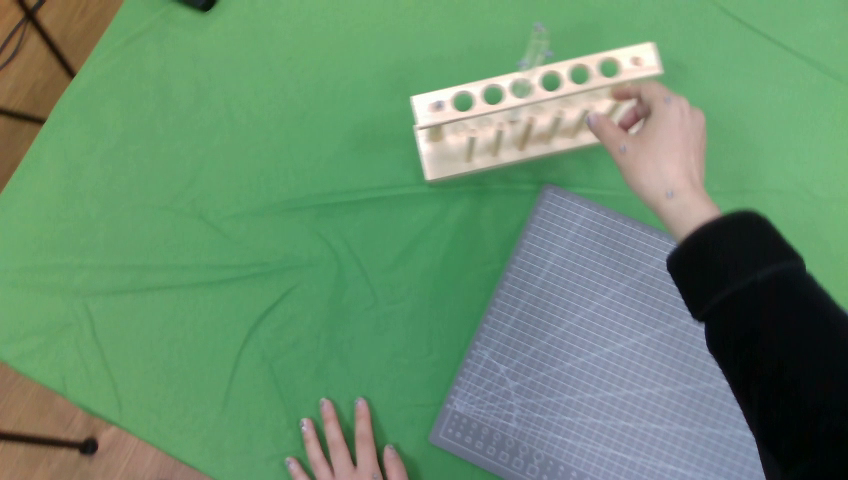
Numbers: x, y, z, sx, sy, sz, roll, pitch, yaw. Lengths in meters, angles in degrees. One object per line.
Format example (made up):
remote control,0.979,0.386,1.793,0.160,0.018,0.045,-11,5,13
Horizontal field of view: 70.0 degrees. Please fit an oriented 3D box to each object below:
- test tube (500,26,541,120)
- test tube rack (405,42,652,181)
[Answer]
test tube,0.090,-0.155,0.585,0.017,0.151,0.017,0,74,-1
test tube rack,0.107,-0.130,0.630,0.242,0.085,0.066,-13,79,-1
